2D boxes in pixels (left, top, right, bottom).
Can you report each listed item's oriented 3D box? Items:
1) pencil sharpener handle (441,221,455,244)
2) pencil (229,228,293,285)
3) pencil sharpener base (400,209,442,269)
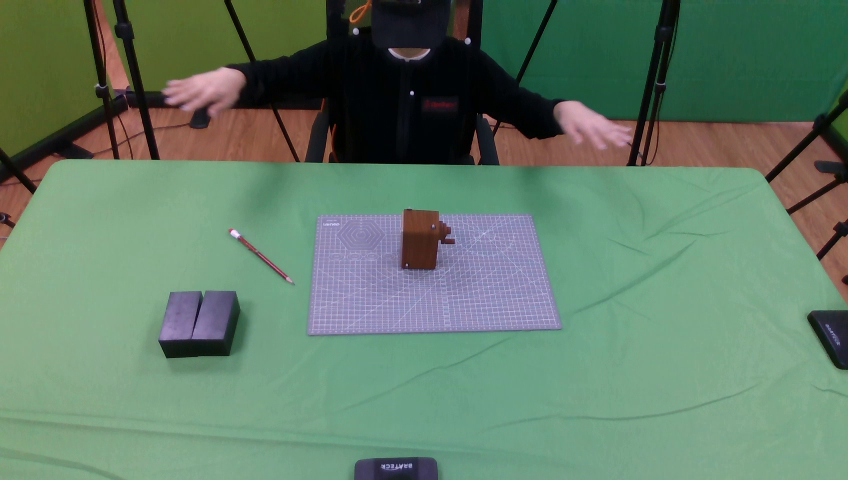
[{"bbox_3d":[0.046,-0.011,1.130,0.030,0.068,0.036,2,62,-2],"label":"pencil sharpener handle"},{"bbox_3d":[-0.311,0.031,1.155,0.193,0.012,0.012,36,54,26],"label":"pencil"},{"bbox_3d":[-0.006,0.000,1.134,0.077,0.107,0.061,2,46,-2],"label":"pencil sharpener base"}]
